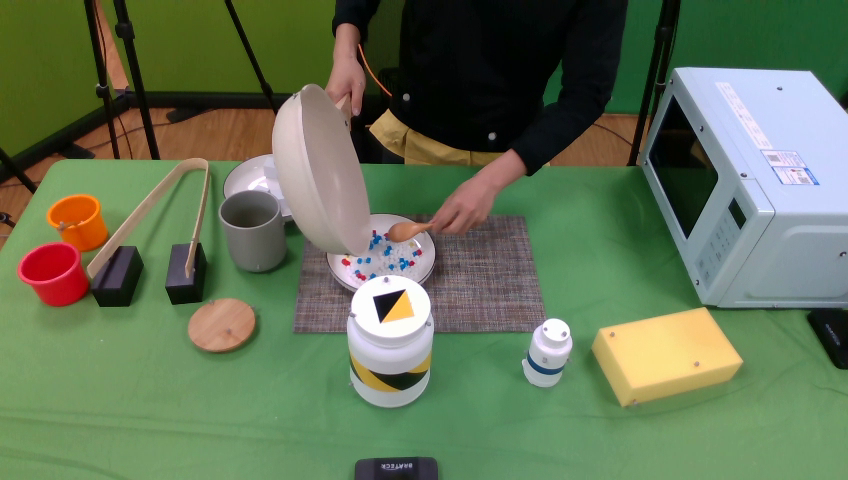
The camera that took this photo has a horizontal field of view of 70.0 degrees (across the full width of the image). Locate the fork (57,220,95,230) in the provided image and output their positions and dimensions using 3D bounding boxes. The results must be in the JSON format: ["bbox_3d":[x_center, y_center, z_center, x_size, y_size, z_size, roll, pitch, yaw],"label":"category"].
[{"bbox_3d":[-0.624,-0.027,1.086,0.028,0.207,0.018,-3,92,-17],"label":"fork"}]

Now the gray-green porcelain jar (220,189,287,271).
[{"bbox_3d":[-0.309,-0.014,1.113,0.106,0.127,0.105,2,46,-2],"label":"gray-green porcelain jar"}]

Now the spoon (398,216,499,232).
[{"bbox_3d":[0.047,-0.032,1.125,0.194,0.022,0.041,-2,36,-15],"label":"spoon"}]

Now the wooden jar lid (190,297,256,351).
[{"bbox_3d":[-0.342,0.145,1.033,0.108,0.021,0.107,2,45,-2],"label":"wooden jar lid"}]

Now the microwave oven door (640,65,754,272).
[{"bbox_3d":[0.524,-0.148,1.193,0.039,0.245,0.353,0,47,-3],"label":"microwave oven door"}]

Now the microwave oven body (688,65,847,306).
[{"bbox_3d":[0.669,-0.111,1.176,0.326,0.261,0.439,0,46,-3],"label":"microwave oven body"}]

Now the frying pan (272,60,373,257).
[{"bbox_3d":[-0.156,-0.182,1.077,0.102,0.309,0.485,-7,44,16],"label":"frying pan"}]

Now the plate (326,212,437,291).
[{"bbox_3d":[-0.080,0.030,1.143,0.209,0.038,0.208,3,46,-2],"label":"plate"}]

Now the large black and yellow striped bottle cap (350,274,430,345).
[{"bbox_3d":[-0.048,0.097,0.868,0.115,0.019,0.114,3,48,-3],"label":"large black and yellow striped bottle cap"}]

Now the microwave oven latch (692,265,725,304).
[{"bbox_3d":[0.522,0.081,1.116,0.030,0.029,0.078,1,46,-2],"label":"microwave oven latch"}]

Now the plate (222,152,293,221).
[{"bbox_3d":[-0.310,-0.106,1.263,0.208,0.039,0.206,2,47,-2],"label":"plate"}]

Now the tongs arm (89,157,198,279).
[{"bbox_3d":[-0.529,-0.057,1.164,0.028,0.028,0.385,1,36,8],"label":"tongs arm"}]

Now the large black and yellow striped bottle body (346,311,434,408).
[{"bbox_3d":[-0.052,0.157,0.929,0.131,0.185,0.130,2,46,-2],"label":"large black and yellow striped bottle body"}]

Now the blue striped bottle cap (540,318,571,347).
[{"bbox_3d":[0.203,0.142,0.933,0.044,0.021,0.044,3,49,-3],"label":"blue striped bottle cap"}]

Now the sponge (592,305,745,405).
[{"bbox_3d":[0.405,0.190,1.014,0.207,0.061,0.117,-10,48,-12],"label":"sponge"}]

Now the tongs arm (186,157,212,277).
[{"bbox_3d":[-0.445,-0.058,1.168,0.051,0.026,0.382,-5,37,-6],"label":"tongs arm"}]

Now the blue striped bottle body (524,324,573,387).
[{"bbox_3d":[0.200,0.178,0.970,0.063,0.121,0.062,2,46,-1],"label":"blue striped bottle body"}]
